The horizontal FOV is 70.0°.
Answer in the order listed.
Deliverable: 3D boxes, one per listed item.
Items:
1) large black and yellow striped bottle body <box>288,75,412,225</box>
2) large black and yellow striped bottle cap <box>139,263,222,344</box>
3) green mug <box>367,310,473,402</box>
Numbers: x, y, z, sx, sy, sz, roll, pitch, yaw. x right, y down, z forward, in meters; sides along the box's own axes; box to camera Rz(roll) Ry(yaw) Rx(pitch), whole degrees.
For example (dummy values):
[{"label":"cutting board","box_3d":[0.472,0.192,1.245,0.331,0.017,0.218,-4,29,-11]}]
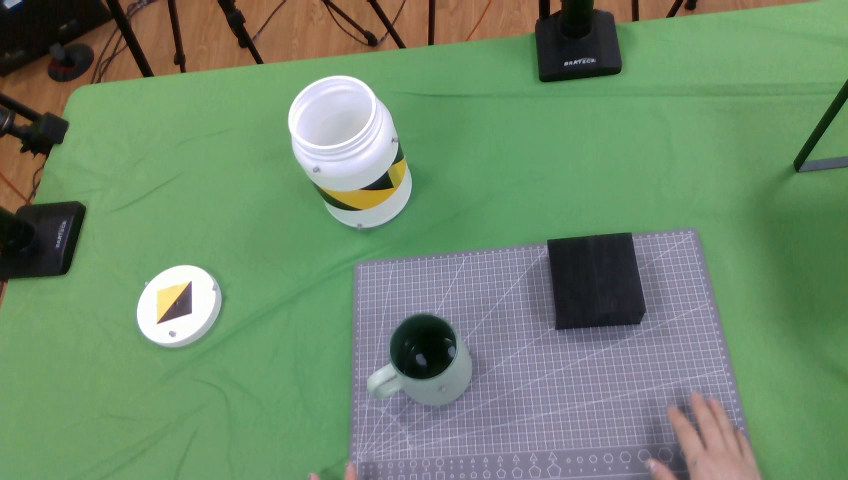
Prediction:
[{"label":"large black and yellow striped bottle body","box_3d":[-0.095,-0.115,0.798,0.130,0.185,0.129,-4,63,8]},{"label":"large black and yellow striped bottle cap","box_3d":[-0.337,0.086,0.838,0.115,0.019,0.114,-4,63,8]},{"label":"green mug","box_3d":[-0.007,0.143,0.700,0.125,0.106,0.091,-29,63,-5]}]
